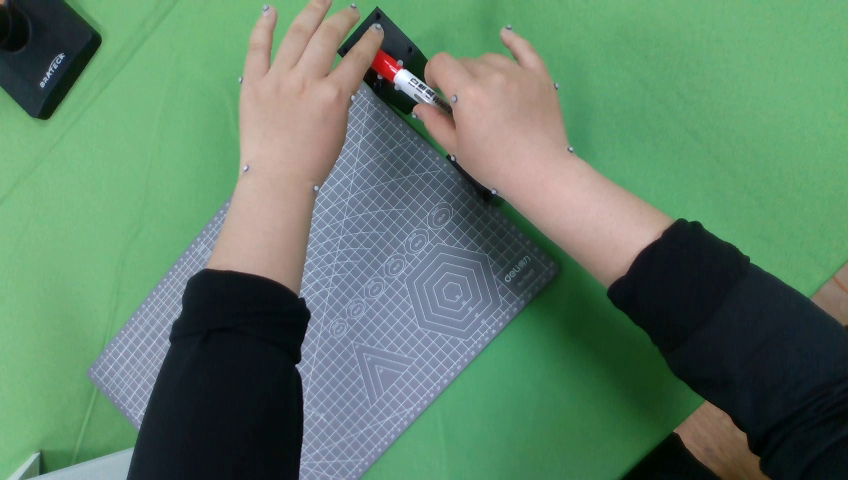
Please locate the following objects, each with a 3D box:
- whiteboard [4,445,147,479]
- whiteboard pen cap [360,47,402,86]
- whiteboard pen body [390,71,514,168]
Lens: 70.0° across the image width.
[{"bbox_3d":[-0.453,0.328,0.584,0.143,0.307,0.217,6,93,32],"label":"whiteboard"},{"bbox_3d":[-0.034,-0.140,0.490,0.032,0.017,0.017,39,99,7],"label":"whiteboard pen cap"},{"bbox_3d":[0.013,-0.103,0.483,0.140,0.017,0.017,38,99,7],"label":"whiteboard pen body"}]
